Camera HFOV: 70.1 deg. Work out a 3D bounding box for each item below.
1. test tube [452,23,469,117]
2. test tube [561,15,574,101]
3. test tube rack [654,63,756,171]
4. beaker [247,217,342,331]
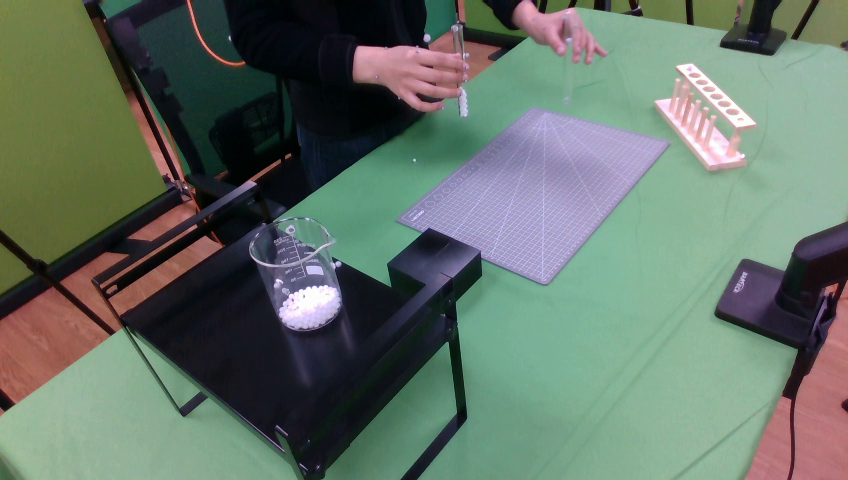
[{"bbox_3d":[0.058,-0.260,0.939,0.017,0.151,0.017,-5,38,4],"label":"test tube"},{"bbox_3d":[0.242,-0.304,1.020,0.017,0.151,0.017,-5,40,5],"label":"test tube"},{"bbox_3d":[0.510,-0.233,1.120,0.067,0.085,0.241,-8,41,-1],"label":"test tube rack"},{"bbox_3d":[-0.124,0.037,0.614,0.084,0.101,0.073,-7,41,0],"label":"beaker"}]
